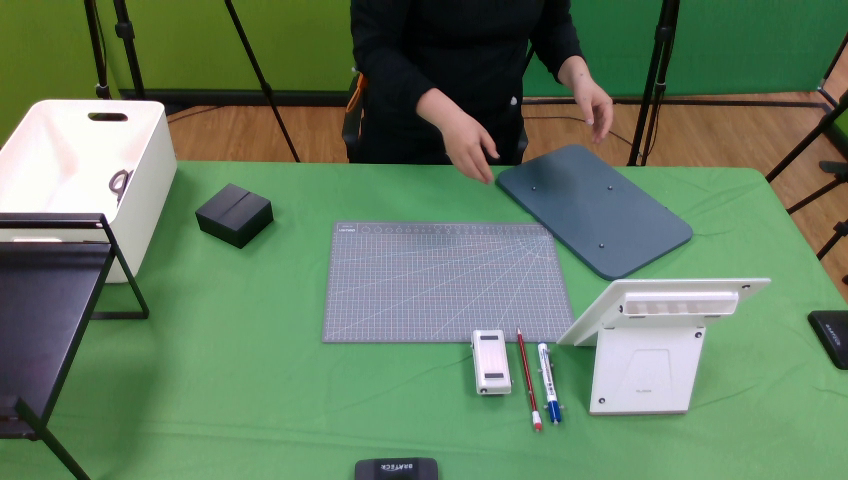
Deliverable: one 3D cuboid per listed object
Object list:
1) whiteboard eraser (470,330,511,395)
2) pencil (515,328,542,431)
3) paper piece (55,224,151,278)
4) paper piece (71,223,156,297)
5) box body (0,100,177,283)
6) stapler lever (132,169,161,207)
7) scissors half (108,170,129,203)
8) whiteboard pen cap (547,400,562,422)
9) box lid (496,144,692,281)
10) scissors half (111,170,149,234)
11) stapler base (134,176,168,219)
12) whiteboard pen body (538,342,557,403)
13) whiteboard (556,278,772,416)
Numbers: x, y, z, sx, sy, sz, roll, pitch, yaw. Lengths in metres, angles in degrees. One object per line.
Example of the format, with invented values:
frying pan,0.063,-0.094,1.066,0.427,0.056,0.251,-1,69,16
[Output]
whiteboard eraser,0.110,0.202,0.998,0.055,0.042,0.112,1,46,-5
pencil,0.169,0.224,1.002,0.012,0.012,0.192,-2,46,-6
paper piece,-0.595,0.018,1.129,0.135,0.004,0.135,1,46,-2
paper piece,-0.598,0.034,1.141,0.136,0.009,0.137,14,51,-14
box body,-0.639,-0.095,1.140,0.254,0.161,0.361,0,46,-4
stapler lever,-0.557,-0.113,1.218,0.027,0.040,0.117,1,41,-8
scissors half,-0.618,-0.077,1.222,0.040,0.013,0.174,-14,52,-8
whiteboard pen cap,0.205,0.269,0.956,0.018,0.018,0.033,0,47,-5
box lid,0.360,-0.074,1.305,0.263,0.015,0.369,-24,52,-25
scissors half,-0.596,-0.078,1.223,0.040,0.013,0.174,6,51,2
stapler base,-0.558,-0.093,1.234,0.041,0.024,0.129,1,42,-8
whiteboard pen body,0.205,0.228,0.996,0.017,0.017,0.140,1,46,-3
whiteboard,0.347,0.174,0.903,0.217,0.306,0.143,1,65,-4
